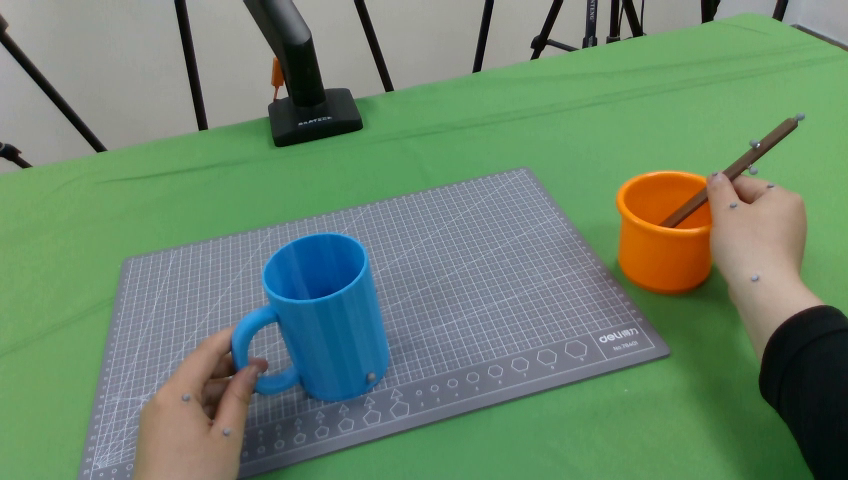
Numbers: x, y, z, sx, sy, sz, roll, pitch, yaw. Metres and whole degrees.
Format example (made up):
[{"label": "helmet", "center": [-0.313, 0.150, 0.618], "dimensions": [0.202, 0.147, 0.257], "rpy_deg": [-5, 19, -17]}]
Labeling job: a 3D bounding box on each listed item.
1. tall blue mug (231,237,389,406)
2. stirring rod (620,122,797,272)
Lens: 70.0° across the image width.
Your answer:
[{"label": "tall blue mug", "center": [-0.079, 0.072, 0.450], "dimensions": [0.077, 0.109, 0.107], "rpy_deg": [13, 43, 23]}, {"label": "stirring rod", "center": [0.234, -0.032, 0.508], "dimensions": [0.006, 0.176, 0.014], "rpy_deg": [36, 24, -17]}]
